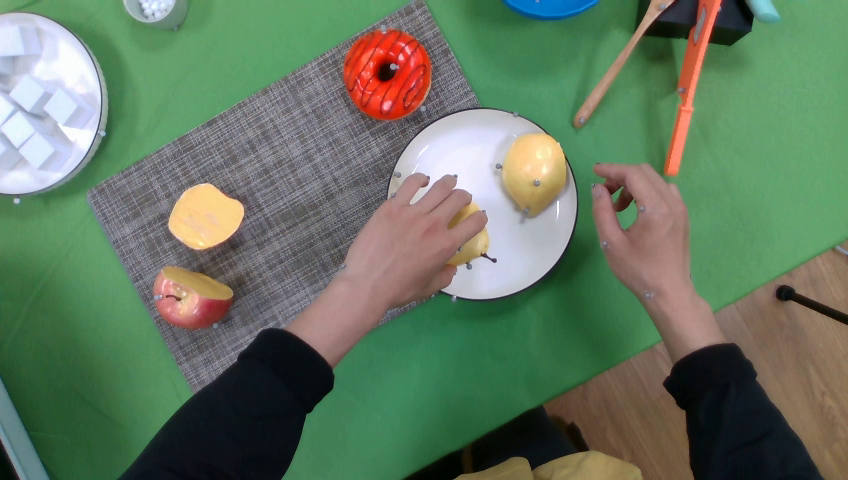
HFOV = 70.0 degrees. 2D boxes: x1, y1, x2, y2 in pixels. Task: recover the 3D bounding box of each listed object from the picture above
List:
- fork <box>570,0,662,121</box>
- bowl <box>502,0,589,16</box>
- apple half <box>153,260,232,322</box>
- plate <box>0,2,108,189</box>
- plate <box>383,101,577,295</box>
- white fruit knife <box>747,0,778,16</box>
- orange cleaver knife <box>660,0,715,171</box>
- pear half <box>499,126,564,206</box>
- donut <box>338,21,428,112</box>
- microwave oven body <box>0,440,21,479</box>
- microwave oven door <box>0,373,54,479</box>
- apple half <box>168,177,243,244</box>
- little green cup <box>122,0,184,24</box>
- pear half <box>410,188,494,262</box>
[{"bbox_3d":[0.213,-0.213,0.627,0.028,0.018,0.208,29,114,-5],"label":"fork"},{"bbox_3d":[0.126,-0.302,0.635,0.151,0.077,0.151,0,92,3],"label":"bowl"},{"bbox_3d":[-0.258,0.062,0.668,0.081,0.074,0.053,26,97,-1],"label":"apple half"},{"bbox_3d":[-0.459,-0.162,0.695,0.207,0.039,0.207,0,92,4],"label":"plate"},{"bbox_3d":[0.060,-0.045,0.663,0.209,0.038,0.209,0,92,3],"label":"plate"},{"bbox_3d":[0.295,-0.315,0.606,0.027,0.016,0.207,-27,88,-25],"label":"white fruit knife"},{"bbox_3d":[0.272,-0.179,0.627,0.012,0.077,0.213,8,118,8],"label":"orange cleaver knife"},{"bbox_3d":[0.111,-0.077,0.644,0.070,0.031,0.088,8,107,28],"label":"pear half"},{"bbox_3d":[-0.044,-0.188,0.661,0.099,0.048,0.099,0,94,6],"label":"donut"},{"bbox_3d":[-0.627,0.265,0.604,0.326,0.260,0.441,-26,91,3],"label":"microwave oven body"},{"bbox_3d":[-0.478,0.239,0.589,0.039,0.244,0.355,-26,90,4],"label":"microwave oven door"},{"bbox_3d":[-0.244,-0.027,0.681,0.081,0.033,0.080,2,69,-4],"label":"apple half"},{"bbox_3d":[-0.303,-0.275,0.681,0.061,0.038,0.061,0,92,4],"label":"little green cup"},{"bbox_3d":[0.027,-0.010,0.620,0.108,0.056,0.076,34,113,42],"label":"pear half"}]
